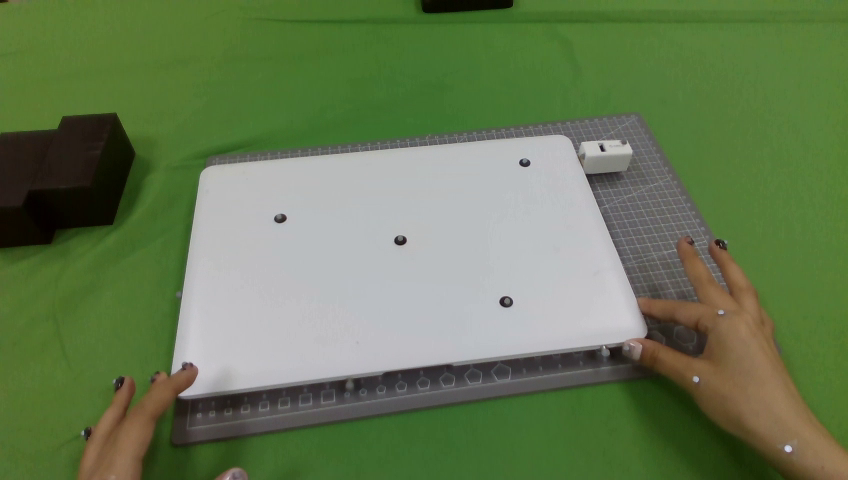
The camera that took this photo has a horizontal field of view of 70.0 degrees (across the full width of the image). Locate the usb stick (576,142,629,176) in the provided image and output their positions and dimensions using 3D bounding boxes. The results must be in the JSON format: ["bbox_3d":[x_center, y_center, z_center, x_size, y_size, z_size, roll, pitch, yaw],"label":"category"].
[{"bbox_3d":[0.161,-0.077,0.575,0.059,0.027,0.021,-6,51,-2],"label":"usb stick"}]

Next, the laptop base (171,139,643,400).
[{"bbox_3d":[-0.020,0.011,0.518,0.355,0.023,0.233,-6,53,-5],"label":"laptop base"}]

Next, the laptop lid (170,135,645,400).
[{"bbox_3d":[-0.020,0.005,0.508,0.357,0.013,0.239,-5,52,-4],"label":"laptop lid"}]
